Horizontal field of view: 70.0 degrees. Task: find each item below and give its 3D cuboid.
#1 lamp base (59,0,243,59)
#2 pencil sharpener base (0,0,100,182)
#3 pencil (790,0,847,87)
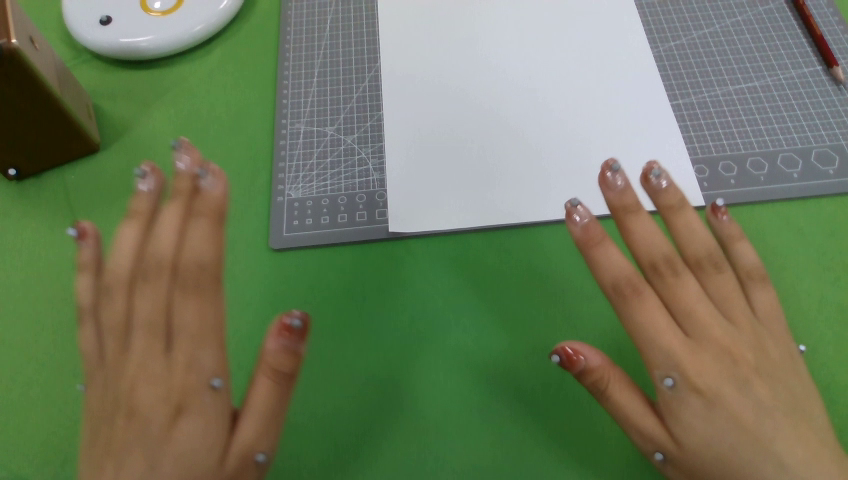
[{"bbox_3d":[-0.246,-0.263,0.464,0.160,0.182,0.177,-34,62,-14],"label":"lamp base"},{"bbox_3d":[-0.290,-0.100,0.418,0.077,0.108,0.061,-24,62,-9],"label":"pencil sharpener base"},{"bbox_3d":[0.298,-0.196,0.487,0.012,0.012,0.192,-7,62,0],"label":"pencil"}]
